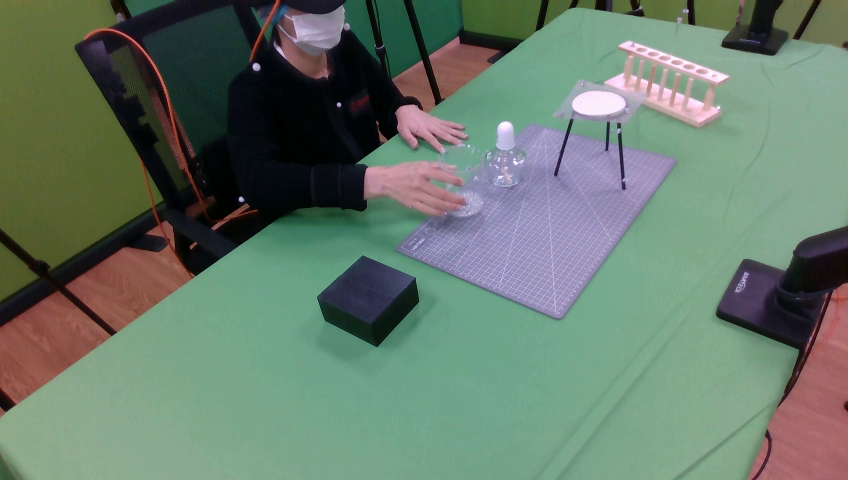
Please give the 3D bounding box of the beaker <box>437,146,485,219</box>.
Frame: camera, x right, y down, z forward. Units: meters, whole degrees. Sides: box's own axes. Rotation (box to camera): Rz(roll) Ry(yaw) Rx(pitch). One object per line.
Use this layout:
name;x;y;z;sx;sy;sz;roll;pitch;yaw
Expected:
beaker;0.064;-0.093;0.987;0.073;0.101;0.084;21;50;27

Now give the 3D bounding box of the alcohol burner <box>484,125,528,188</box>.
alcohol burner;0.144;-0.152;1.059;0.078;0.119;0.077;-3;41;3

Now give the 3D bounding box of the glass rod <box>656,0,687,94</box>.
glass rod;0.491;-0.381;1.199;0.008;0.200;0.008;1;41;0

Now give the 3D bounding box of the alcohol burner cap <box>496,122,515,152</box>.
alcohol burner cap;0.139;-0.179;1.037;0.034;0.048;0.033;-4;43;4

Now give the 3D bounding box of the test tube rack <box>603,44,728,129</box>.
test tube rack;0.480;-0.316;1.227;0.067;0.085;0.240;-28;44;-22

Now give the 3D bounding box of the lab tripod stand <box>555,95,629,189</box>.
lab tripod stand;0.300;-0.174;1.045;0.148;0.132;0.147;-5;38;5

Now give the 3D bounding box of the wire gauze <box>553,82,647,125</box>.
wire gauze;0.293;-0.225;1.002;0.120;0.011;0.125;17;45;27
